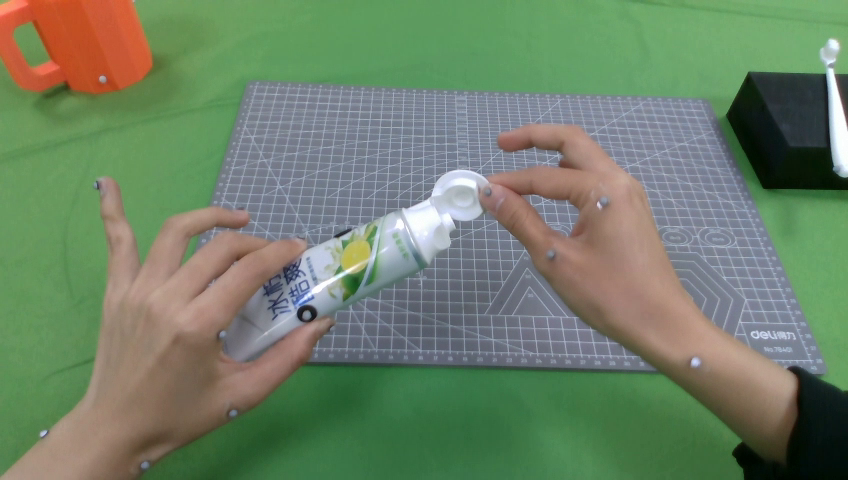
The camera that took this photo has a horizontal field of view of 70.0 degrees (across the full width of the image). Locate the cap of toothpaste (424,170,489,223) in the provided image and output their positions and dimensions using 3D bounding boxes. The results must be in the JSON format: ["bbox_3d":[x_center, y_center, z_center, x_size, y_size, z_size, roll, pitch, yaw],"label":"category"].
[{"bbox_3d":[0.018,-0.022,0.338,0.037,0.037,0.011,10,43,6],"label":"cap of toothpaste"}]

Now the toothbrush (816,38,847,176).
[{"bbox_3d":[0.351,-0.119,0.518,0.014,0.017,0.180,18,53,8],"label":"toothbrush"}]

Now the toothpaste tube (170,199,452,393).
[{"bbox_3d":[-0.061,0.022,0.330,0.165,0.035,0.054,-27,57,0],"label":"toothpaste tube"}]

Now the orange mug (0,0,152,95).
[{"bbox_3d":[-0.321,-0.190,0.546,0.083,0.101,0.126,36,53,23],"label":"orange mug"}]
